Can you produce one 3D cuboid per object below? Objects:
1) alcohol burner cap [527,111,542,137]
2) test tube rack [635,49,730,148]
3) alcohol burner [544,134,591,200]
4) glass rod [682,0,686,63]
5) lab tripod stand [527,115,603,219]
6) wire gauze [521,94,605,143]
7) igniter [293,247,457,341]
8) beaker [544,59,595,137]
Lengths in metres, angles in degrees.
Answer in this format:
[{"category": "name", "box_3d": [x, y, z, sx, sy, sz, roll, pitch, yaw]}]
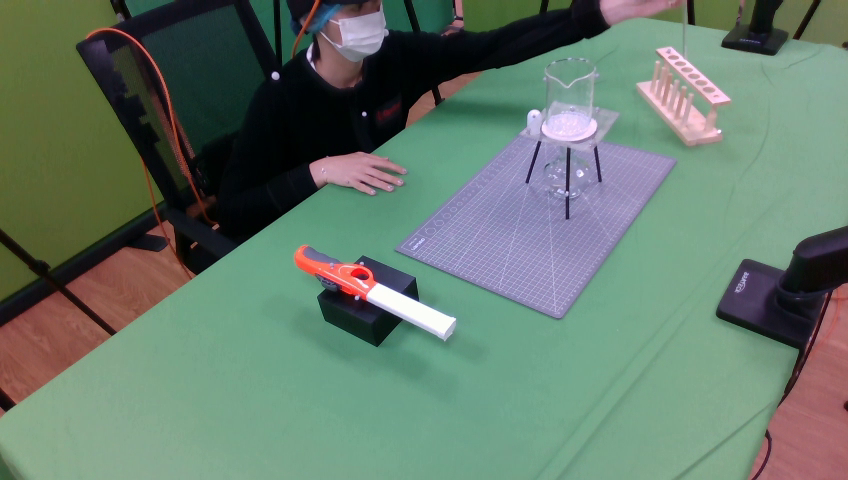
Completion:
[{"category": "alcohol burner cap", "box_3d": [0.221, -0.233, 1.200, 0.034, 0.048, 0.033, -6, 41, 6]}, {"category": "test tube rack", "box_3d": [0.497, -0.283, 1.184, 0.067, 0.085, 0.240, -10, 40, -2]}, {"category": "alcohol burner", "box_3d": [0.241, -0.127, 1.014, 0.078, 0.119, 0.077, -5, 42, 5]}, {"category": "glass rod", "box_3d": [0.469, -0.421, 1.090, 0.008, 0.200, 0.008, -8, 22, 4]}, {"category": "lab tripod stand", "box_3d": [0.235, -0.129, 1.002, 0.148, 0.132, 0.147, -6, 40, 6]}, {"category": "wire gauze", "box_3d": [0.220, -0.190, 0.949, 0.121, 0.011, 0.125, 7, 46, 14]}, {"category": "igniter", "box_3d": [-0.077, 0.068, 0.830, 0.274, 0.025, 0.057, 22, 48, 27]}, {"category": "beaker", "box_3d": [0.222, -0.214, 0.926, 0.074, 0.101, 0.084, 3, 42, 16]}]
